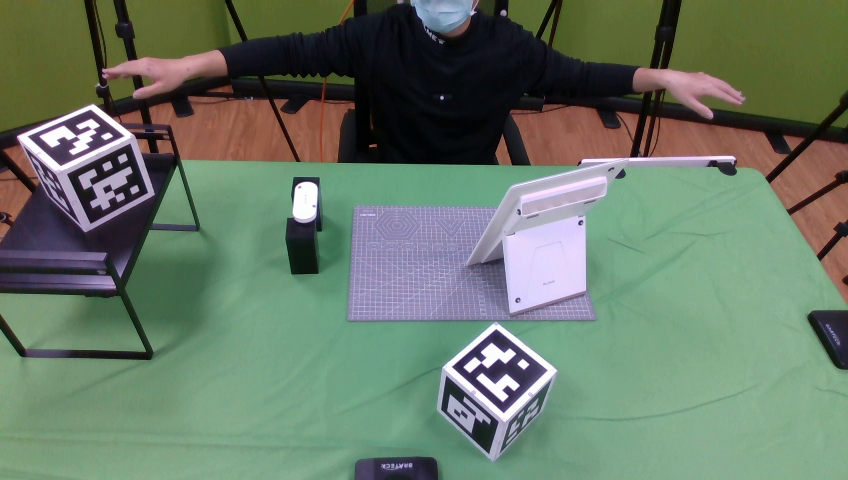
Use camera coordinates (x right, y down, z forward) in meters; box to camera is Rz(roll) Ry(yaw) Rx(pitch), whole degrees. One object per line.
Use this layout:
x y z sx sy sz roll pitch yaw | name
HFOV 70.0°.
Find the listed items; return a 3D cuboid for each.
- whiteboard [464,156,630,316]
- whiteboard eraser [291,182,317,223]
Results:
0.224 0.014 1.041 0.217 0.306 0.143 -14 68 -17 | whiteboard
-0.219 -0.070 1.111 0.041 0.019 0.100 -2 45 -3 | whiteboard eraser
